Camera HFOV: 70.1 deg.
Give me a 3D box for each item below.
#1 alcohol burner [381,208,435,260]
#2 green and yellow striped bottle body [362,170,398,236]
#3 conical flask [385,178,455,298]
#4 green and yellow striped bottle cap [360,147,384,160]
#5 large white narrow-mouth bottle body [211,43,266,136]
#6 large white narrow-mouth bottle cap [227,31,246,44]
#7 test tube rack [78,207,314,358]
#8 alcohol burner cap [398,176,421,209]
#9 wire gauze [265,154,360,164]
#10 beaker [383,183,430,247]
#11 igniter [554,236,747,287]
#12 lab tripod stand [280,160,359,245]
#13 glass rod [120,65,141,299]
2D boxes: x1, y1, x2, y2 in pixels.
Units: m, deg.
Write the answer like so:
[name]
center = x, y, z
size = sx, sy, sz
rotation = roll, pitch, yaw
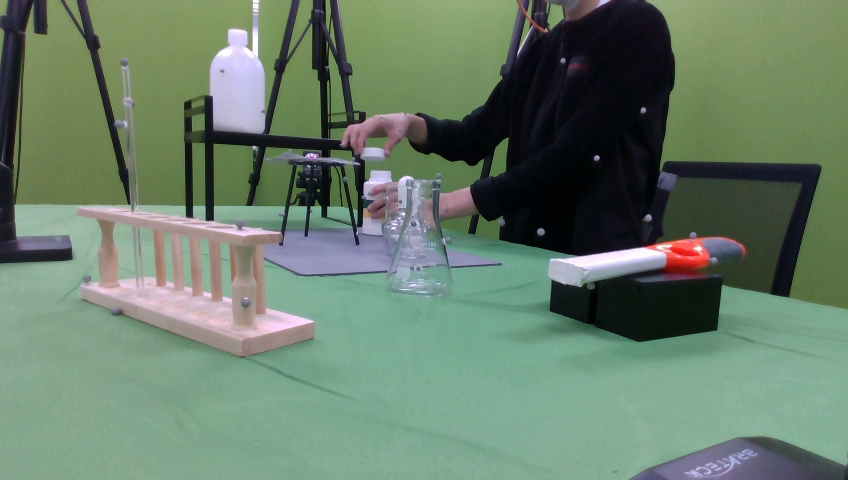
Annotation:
[alcohol burner]
center = -0.023, -0.032, 0.871
size = 0.078, 0.119, 0.078
rotation = 0, 6, 0
[green and yellow striped bottle body]
center = -0.081, -0.069, 1.118
size = 0.063, 0.119, 0.063
rotation = 3, 7, 0
[conical flask]
center = -0.002, -0.004, 0.639
size = 0.075, 0.122, 0.075
rotation = 2, 7, 0
[green and yellow striped bottle cap]
center = -0.097, -0.160, 1.118
size = 0.045, 0.020, 0.045
rotation = 0, -2, 0
[large white narrow-mouth bottle body]
center = -0.361, -0.302, 1.176
size = 0.102, 0.194, 0.102
rotation = 1, 7, 0
[large white narrow-mouth bottle cap]
center = -0.361, -0.388, 1.166
size = 0.038, 0.024, 0.037
rotation = 1, 7, 0
[test tube rack]
center = -0.196, 0.023, 0.499
size = 0.241, 0.085, 0.067
rotation = 8, 8, 37
[alcohol burner cap]
center = -0.023, -0.068, 0.866
size = 0.034, 0.048, 0.034
rotation = -5, 8, 1
[wire gauze]
center = -0.181, -0.129, 0.969
size = 0.126, 0.011, 0.121
rotation = -1, 7, -27
[beaker]
center = -0.027, -0.041, 0.996
size = 0.074, 0.100, 0.083
rotation = -5, 11, -43
[igniter]
center = 0.221, 0.017, 0.558
size = 0.278, 0.025, 0.057
rotation = -5, 15, -39
[lab tripod stand]
center = -0.176, -0.062, 0.973
size = 0.148, 0.131, 0.148
rotation = 1, 7, 0
[glass rod]
center = -0.249, -0.047, 0.513
size = 0.008, 0.199, 0.008
rotation = -1, 4, 0
